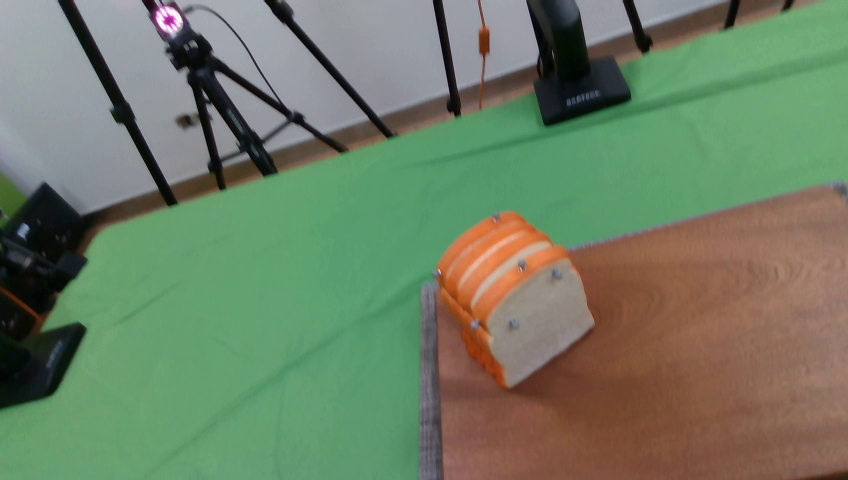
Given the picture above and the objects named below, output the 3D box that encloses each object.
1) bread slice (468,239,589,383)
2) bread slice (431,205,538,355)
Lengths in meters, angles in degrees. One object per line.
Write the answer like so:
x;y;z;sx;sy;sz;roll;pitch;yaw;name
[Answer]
0.088;0.060;0.505;0.105;0.133;0.019;-37;48;-8;bread slice
0.065;0.034;0.542;0.107;0.136;0.018;-33;39;-10;bread slice
